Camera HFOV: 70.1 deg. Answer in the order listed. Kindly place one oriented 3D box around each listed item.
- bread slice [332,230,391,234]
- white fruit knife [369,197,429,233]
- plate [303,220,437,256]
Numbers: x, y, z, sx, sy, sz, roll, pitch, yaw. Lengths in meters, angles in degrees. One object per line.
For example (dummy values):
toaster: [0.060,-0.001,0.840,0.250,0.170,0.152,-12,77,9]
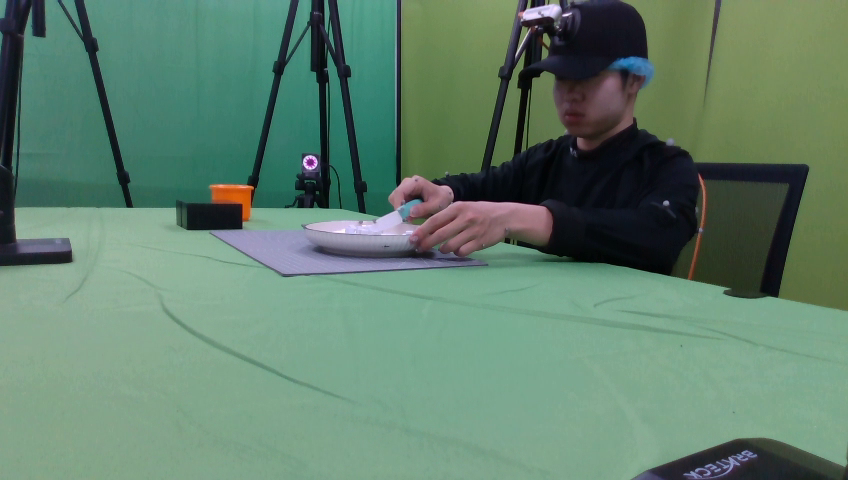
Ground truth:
bread slice: [-0.088,-0.001,0.947,0.105,0.019,0.131,-5,11,-45]
white fruit knife: [-0.038,-0.041,0.976,0.016,0.027,0.208,-7,11,25]
plate: [-0.084,-0.003,0.951,0.209,0.038,0.209,2,7,0]
